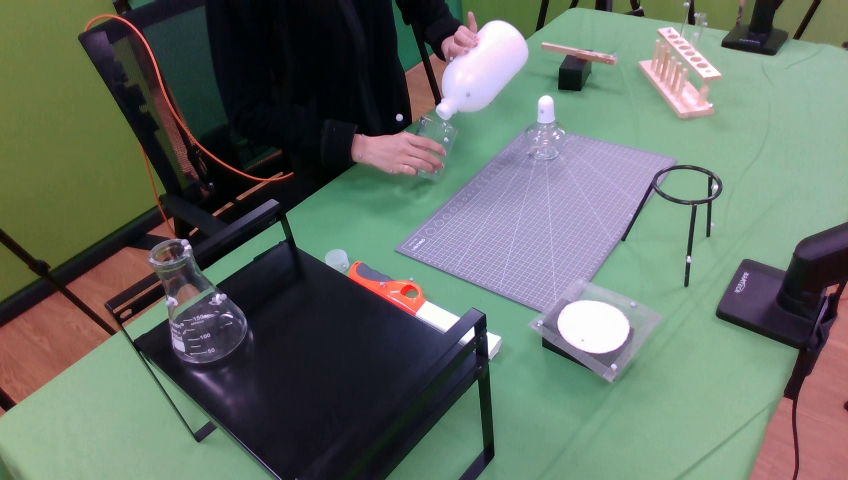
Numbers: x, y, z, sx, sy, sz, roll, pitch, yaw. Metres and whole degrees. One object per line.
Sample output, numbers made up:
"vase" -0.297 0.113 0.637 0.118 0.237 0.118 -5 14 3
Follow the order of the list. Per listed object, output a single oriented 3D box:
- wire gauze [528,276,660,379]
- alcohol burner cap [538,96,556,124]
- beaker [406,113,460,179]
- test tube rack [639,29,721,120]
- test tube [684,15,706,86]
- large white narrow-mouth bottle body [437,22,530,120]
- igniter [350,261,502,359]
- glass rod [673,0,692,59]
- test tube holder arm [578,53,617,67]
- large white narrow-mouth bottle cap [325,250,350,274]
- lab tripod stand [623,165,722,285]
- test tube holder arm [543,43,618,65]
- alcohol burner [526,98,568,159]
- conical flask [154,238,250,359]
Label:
"wire gauze" 0.214 0.103 0.763 0.124 0.011 0.122 30 52 35
"alcohol burner cap" 0.222 -0.237 1.095 0.034 0.048 0.033 -6 35 5
"beaker" 0.016 -0.168 1.088 0.073 0.100 0.084 34 22 33
"test tube rack" 0.527 -0.351 1.262 0.067 0.085 0.241 -8 40 1
"test tube" 0.541 -0.378 1.215 0.017 0.151 0.017 -2 44 3
"large white narrow-mouth bottle body" 0.095 -0.292 1.086 0.101 0.102 0.195 33 76 38
"igniter" -0.009 0.094 0.870 0.274 0.025 0.057 25 60 33
"glass rod" 0.537 -0.437 1.257 0.008 0.200 0.008 0 39 1
"test tube holder arm" 0.376 -0.393 1.314 0.087 0.015 0.010 26 51 32
"large white narrow-mouth bottle cap" -0.138 0.035 0.966 0.038 0.024 0.037 -4 41 4
"lab tripod stand" 0.365 -0.030 0.874 0.148 0.132 0.147 -6 41 6
"test tube holder arm" 0.344 -0.413 1.340 0.177 0.015 0.013 25 51 31
"alcohol burner" 0.228 -0.210 1.118 0.078 0.119 0.077 -5 43 5
"conical flask" -0.225 0.055 0.597 0.075 0.122 0.075 -5 41 4
